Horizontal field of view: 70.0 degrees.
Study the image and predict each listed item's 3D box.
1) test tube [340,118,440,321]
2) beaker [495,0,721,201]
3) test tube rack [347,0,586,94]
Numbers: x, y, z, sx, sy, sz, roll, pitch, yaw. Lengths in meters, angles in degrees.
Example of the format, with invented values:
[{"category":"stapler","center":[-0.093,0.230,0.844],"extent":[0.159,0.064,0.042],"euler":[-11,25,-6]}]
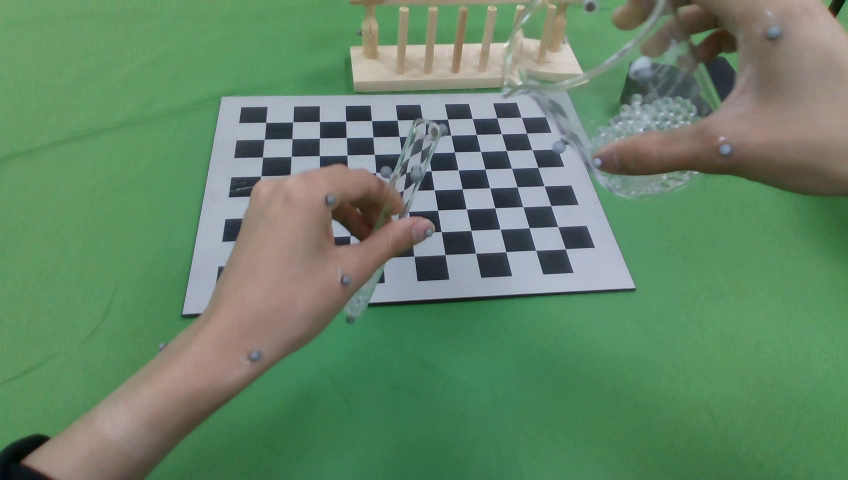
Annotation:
[{"category":"test tube","center":[-0.023,-0.003,0.337],"extent":[0.017,0.151,0.017],"euler":[14,42,-13]},{"category":"beaker","center":[0.091,-0.069,0.292],"extent":[0.084,0.101,0.073],"euler":[-38,42,17]},{"category":"test tube rack","center":[0.044,-0.210,0.631],"extent":[0.243,0.086,0.066],"euler":[-4,49,-8]}]
